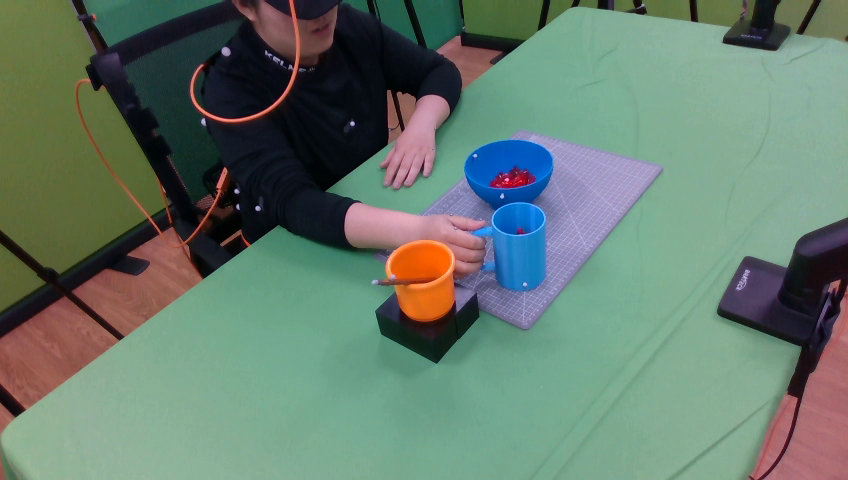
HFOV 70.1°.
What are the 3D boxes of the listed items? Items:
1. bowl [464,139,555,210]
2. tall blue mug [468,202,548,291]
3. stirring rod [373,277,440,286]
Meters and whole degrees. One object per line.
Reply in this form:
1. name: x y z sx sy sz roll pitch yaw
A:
1. bowl: 0.145 -0.100 1.025 0.151 0.077 0.150 -5 40 5
2. tall blue mug: 0.125 0.015 0.869 0.107 0.108 0.077 -21 42 -14
3. stirring rod: -0.018 0.051 0.758 0.014 0.006 0.177 12 2 23
